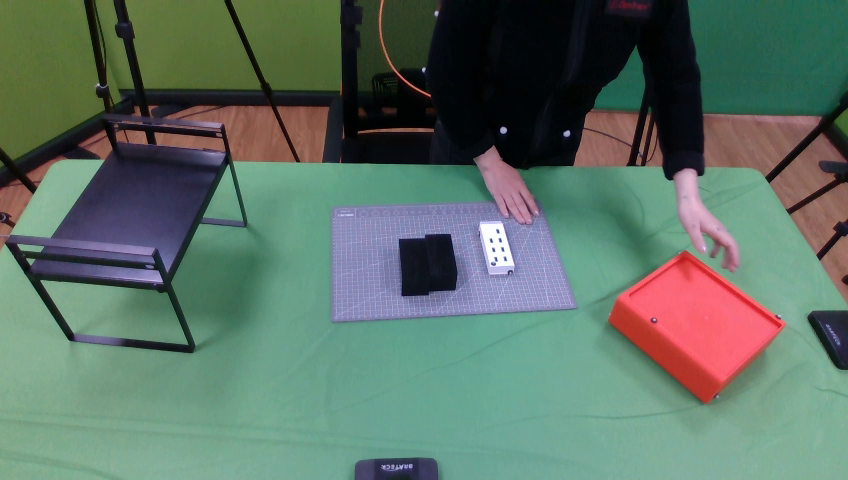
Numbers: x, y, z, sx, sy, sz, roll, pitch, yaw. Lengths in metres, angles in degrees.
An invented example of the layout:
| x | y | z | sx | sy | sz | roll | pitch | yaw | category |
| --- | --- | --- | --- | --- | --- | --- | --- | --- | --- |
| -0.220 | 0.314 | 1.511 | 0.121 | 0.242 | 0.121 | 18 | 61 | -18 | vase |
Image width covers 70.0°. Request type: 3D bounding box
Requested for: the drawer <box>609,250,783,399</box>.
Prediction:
| x | y | z | sx | sy | sz | roll | pitch | yaw | category |
| --- | --- | --- | --- | --- | --- | --- | --- | --- | --- |
| 0.469 | 0.140 | 1.054 | 0.194 | 0.073 | 0.210 | -28 | 54 | -27 | drawer |

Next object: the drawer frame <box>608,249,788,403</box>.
| x | y | z | sx | sy | sz | roll | pitch | yaw | category |
| --- | --- | --- | --- | --- | --- | --- | --- | --- | --- |
| 0.470 | 0.139 | 1.052 | 0.202 | 0.083 | 0.212 | -28 | 55 | -28 | drawer frame |

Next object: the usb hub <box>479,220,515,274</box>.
| x | y | z | sx | sy | sz | roll | pitch | yaw | category |
| --- | --- | --- | --- | --- | --- | --- | --- | --- | --- |
| 0.141 | 0.013 | 1.188 | 0.049 | 0.025 | 0.124 | -3 | 46 | -6 | usb hub |
